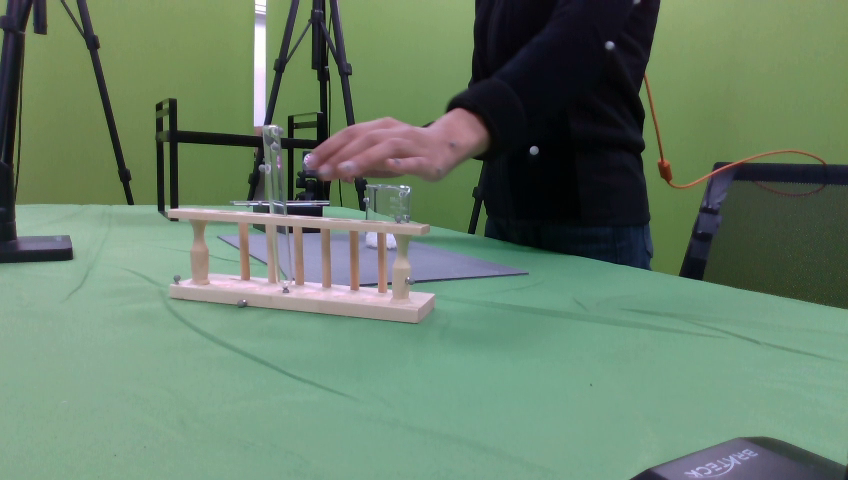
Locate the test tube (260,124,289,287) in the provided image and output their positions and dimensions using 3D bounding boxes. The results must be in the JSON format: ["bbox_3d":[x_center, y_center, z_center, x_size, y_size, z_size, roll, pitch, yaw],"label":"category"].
[{"bbox_3d":[-0.138,-0.031,0.556,0.017,0.150,0.017,-3,6,1],"label":"test tube"}]

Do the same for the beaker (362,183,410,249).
[{"bbox_3d":[-0.058,-0.039,0.956,0.083,0.100,0.074,9,11,41],"label":"beaker"}]

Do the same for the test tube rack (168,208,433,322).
[{"bbox_3d":[-0.115,0.017,0.574,0.242,0.085,0.067,4,8,13],"label":"test tube rack"}]

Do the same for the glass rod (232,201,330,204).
[{"bbox_3d":[-0.266,-0.071,1.146,0.201,0.008,0.008,-3,9,-40],"label":"glass rod"}]
